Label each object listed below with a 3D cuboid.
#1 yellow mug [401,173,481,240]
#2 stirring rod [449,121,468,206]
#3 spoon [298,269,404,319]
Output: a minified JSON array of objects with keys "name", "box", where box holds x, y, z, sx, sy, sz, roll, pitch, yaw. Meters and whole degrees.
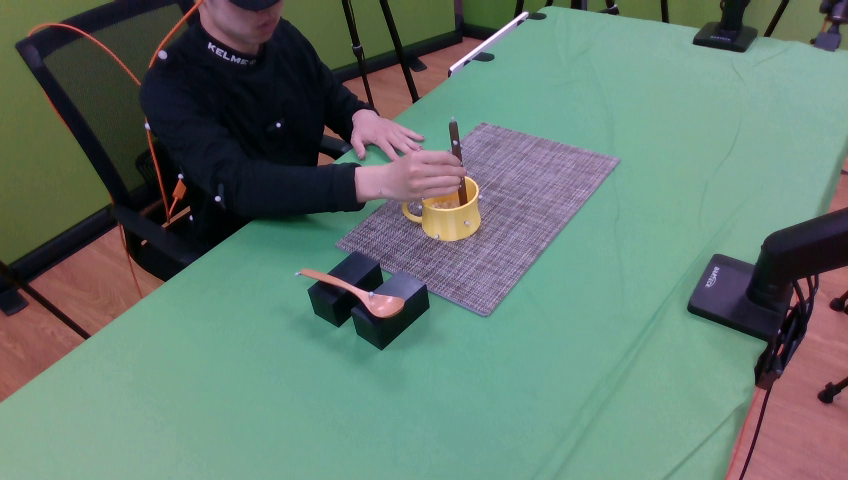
[{"name":"yellow mug","box":[0.026,-0.054,0.989,0.130,0.064,0.099,-1,41,8]},{"name":"stirring rod","box":[0.057,-0.106,0.949,0.014,0.177,0.005,-23,37,-16]},{"name":"spoon","box":[-0.106,0.068,0.831,0.192,0.022,0.042,21,48,32]}]
